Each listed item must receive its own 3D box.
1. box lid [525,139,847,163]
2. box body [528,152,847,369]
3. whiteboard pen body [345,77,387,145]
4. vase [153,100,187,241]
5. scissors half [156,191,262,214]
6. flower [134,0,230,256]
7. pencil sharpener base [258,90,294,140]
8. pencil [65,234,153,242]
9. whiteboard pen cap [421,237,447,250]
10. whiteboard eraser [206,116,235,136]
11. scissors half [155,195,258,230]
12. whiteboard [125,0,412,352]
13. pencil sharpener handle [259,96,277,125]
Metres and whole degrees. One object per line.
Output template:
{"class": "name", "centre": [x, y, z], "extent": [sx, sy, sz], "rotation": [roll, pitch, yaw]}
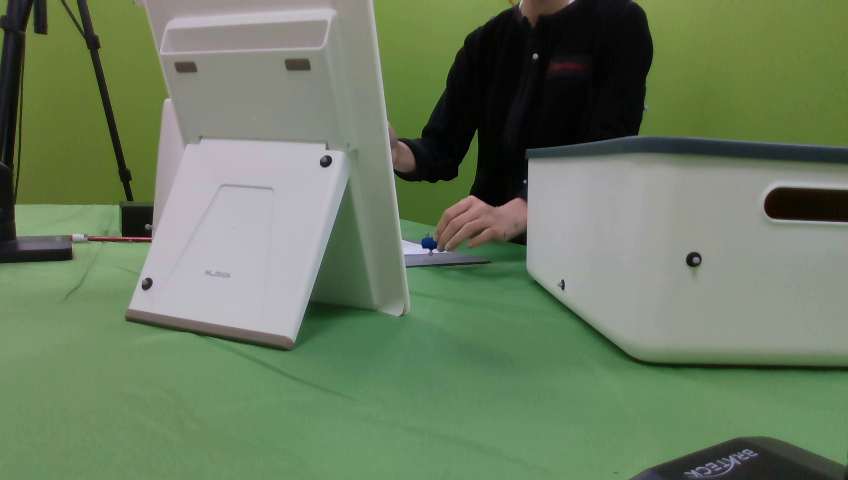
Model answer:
{"class": "box lid", "centre": [0.261, -0.078, 0.580], "extent": [0.264, 0.015, 0.371], "rotation": [2, 7, -4]}
{"class": "box body", "centre": [0.258, -0.005, 0.591], "extent": [0.254, 0.160, 0.363], "rotation": [2, 7, -4]}
{"class": "whiteboard pen body", "centre": [-0.086, -0.195, 0.915], "extent": [0.017, 0.140, 0.017], "rotation": [-24, -25, -12]}
{"class": "vase", "centre": [-0.278, -0.066, 0.736], "extent": [0.098, 0.200, 0.098], "rotation": [2, 9, 0]}
{"class": "scissors half", "centre": [-0.371, -0.069, 1.051], "extent": [0.176, 0.040, 0.013], "rotation": [2, 26, -24]}
{"class": "flower", "centre": [-0.282, -0.146, 0.713], "extent": [0.038, 0.362, 0.044], "rotation": [-23, 23, -30]}
{"class": "pencil sharpener base", "centre": [-0.341, -0.285, 1.388], "extent": [0.062, 0.107, 0.076], "rotation": [-3, 9, -36]}
{"class": "pencil", "centre": [-0.429, -0.001, 0.911], "extent": [0.195, 0.012, 0.012], "rotation": [1, 8, -20]}
{"class": "whiteboard pen cap", "centre": [0.014, 0.005, 0.819], "extent": [0.033, 0.018, 0.018], "rotation": [-2, 5, 22]}
{"class": "whiteboard eraser", "centre": [-0.449, -0.251, 1.335], "extent": [0.056, 0.042, 0.112], "rotation": [1, 7, -23]}
{"class": "scissors half", "centre": [-0.378, -0.051, 1.059], "extent": [0.176, 0.040, 0.012], "rotation": [20, 22, -31]}
{"class": "whiteboard", "centre": [-0.151, -0.049, 0.472], "extent": [0.216, 0.305, 0.144], "rotation": [6, 27, 24]}
{"class": "pencil sharpener handle", "centre": [-0.373, -0.304, 1.425], "extent": [0.036, 0.067, 0.030], "rotation": [13, -1, -37]}
